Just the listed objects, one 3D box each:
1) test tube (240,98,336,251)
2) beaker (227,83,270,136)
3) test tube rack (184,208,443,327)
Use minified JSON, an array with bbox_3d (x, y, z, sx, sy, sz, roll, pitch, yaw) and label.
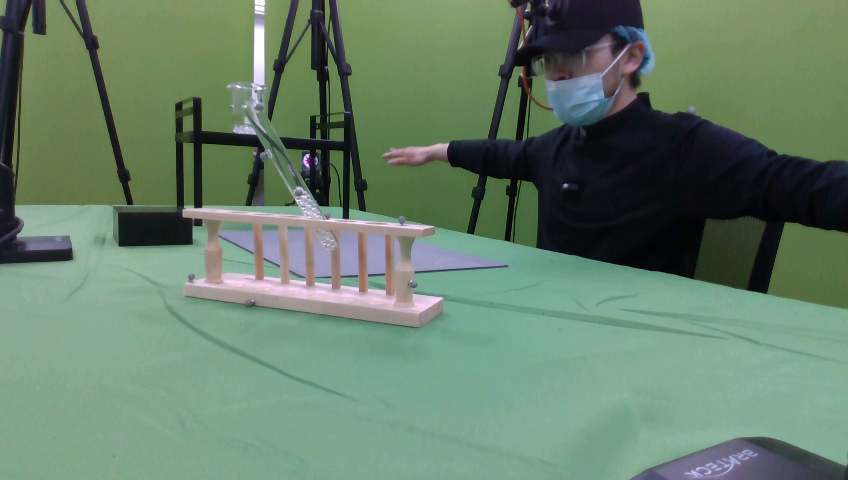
[{"bbox_3d":[-0.115,-0.053,0.528,0.017,0.151,0.017,-21,24,10],"label":"test tube"},{"bbox_3d":[-0.354,-0.262,1.224,0.084,0.100,0.073,-2,8,-28],"label":"beaker"},{"bbox_3d":[-0.106,0.019,0.570,0.241,0.085,0.067,5,7,19],"label":"test tube rack"}]
